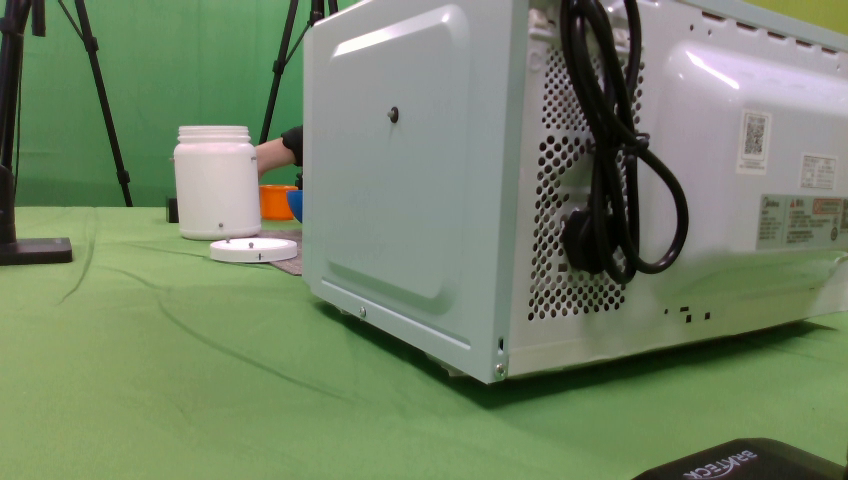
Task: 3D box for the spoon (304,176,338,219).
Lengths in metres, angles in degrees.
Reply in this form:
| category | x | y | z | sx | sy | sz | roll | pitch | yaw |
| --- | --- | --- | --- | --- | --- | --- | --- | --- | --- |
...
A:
| category | x | y | z | sx | sy | sz | roll | pitch | yaw |
| --- | --- | --- | --- | --- | --- | --- | --- | --- | --- |
| spoon | -0.201 | -0.084 | 1.146 | 0.042 | 0.021 | 0.193 | 2 | 30 | -24 |

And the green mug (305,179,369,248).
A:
| category | x | y | z | sx | sy | sz | roll | pitch | yaw |
| --- | --- | --- | --- | --- | --- | --- | --- | --- | --- |
| green mug | -0.133 | -0.044 | 0.977 | 0.092 | 0.105 | 0.126 | 6 | 8 | 32 |

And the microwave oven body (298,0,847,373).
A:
| category | x | y | z | sx | sy | sz | roll | pitch | yaw |
| --- | --- | --- | --- | --- | --- | --- | --- | --- | --- |
| microwave oven body | 0.151 | -0.055 | 0.542 | 0.444 | 0.260 | 0.324 | -2 | 7 | -33 |

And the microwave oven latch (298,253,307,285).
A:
| category | x | y | z | sx | sy | sz | roll | pitch | yaw |
| --- | --- | --- | --- | --- | --- | --- | --- | --- | --- |
| microwave oven latch | -0.081 | 0.027 | 0.582 | 0.079 | 0.029 | 0.030 | -1 | 7 | -32 |

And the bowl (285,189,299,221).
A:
| category | x | y | z | sx | sy | sz | roll | pitch | yaw |
| --- | --- | --- | --- | --- | --- | --- | --- | --- | --- |
| bowl | -0.180 | -0.050 | 1.113 | 0.151 | 0.077 | 0.151 | 3 | 8 | 0 |

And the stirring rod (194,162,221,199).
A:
| category | x | y | z | sx | sy | sz | roll | pitch | yaw |
| --- | --- | --- | --- | --- | --- | --- | --- | --- | --- |
| stirring rod | -0.463 | -0.129 | 1.287 | 0.014 | 0.006 | 0.175 | -13 | 37 | -29 |

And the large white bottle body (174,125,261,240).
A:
| category | x | y | z | sx | sy | sz | roll | pitch | yaw |
| --- | --- | --- | --- | --- | --- | --- | --- | --- | --- |
| large white bottle body | -0.349 | -0.100 | 1.024 | 0.131 | 0.184 | 0.130 | -1 | 9 | 0 |

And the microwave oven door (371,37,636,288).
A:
| category | x | y | z | sx | sy | sz | roll | pitch | yaw |
| --- | --- | --- | --- | --- | --- | --- | --- | --- | --- |
| microwave oven door | 0.109 | -0.080 | 0.686 | 0.358 | 0.243 | 0.039 | -2 | 9 | -33 |

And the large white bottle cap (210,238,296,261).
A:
| category | x | y | z | sx | sy | sz | roll | pitch | yaw |
| --- | --- | --- | --- | --- | --- | --- | --- | --- | --- |
| large white bottle cap | -0.236 | 0.012 | 0.839 | 0.115 | 0.018 | 0.115 | 1 | 7 | 0 |
